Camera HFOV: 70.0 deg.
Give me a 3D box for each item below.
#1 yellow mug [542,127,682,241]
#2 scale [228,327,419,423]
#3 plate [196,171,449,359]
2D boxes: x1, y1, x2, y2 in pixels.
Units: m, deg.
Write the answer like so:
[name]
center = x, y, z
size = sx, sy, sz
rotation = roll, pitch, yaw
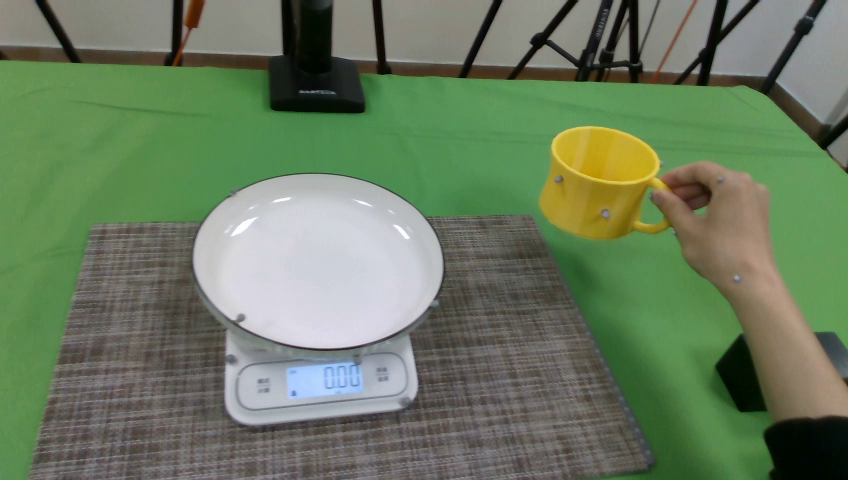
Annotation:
[yellow mug]
center = 0.181, -0.048, 0.573
size = 0.130, 0.064, 0.100
rotation = 32, 47, 27
[scale]
center = -0.089, 0.059, 0.526
size = 0.149, 0.032, 0.198
rotation = -1, 45, -13
[plate]
center = -0.084, 0.018, 0.521
size = 0.209, 0.038, 0.207
rotation = 7, 44, -6
